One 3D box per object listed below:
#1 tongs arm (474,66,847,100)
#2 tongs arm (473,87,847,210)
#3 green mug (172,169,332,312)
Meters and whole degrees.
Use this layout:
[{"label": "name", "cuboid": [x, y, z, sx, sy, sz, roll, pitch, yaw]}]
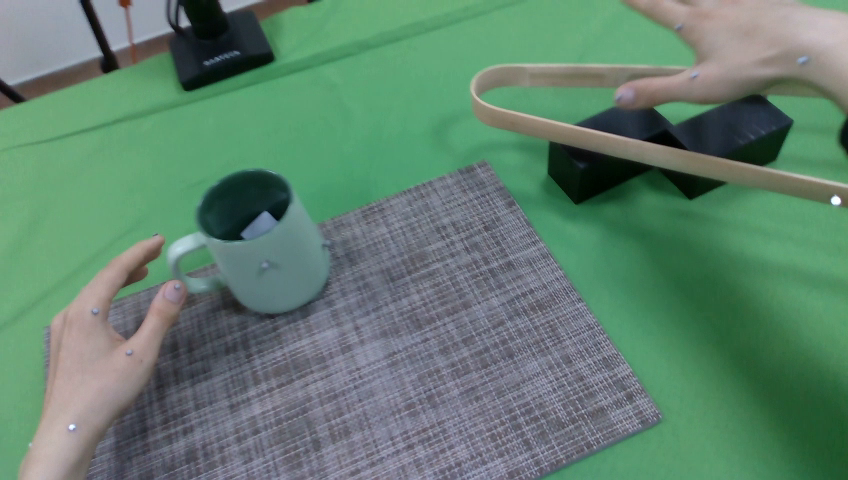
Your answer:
[{"label": "tongs arm", "cuboid": [0.240, -0.136, 0.562, 0.383, 0.027, 0.050, 8, 58, 13]}, {"label": "tongs arm", "cuboid": [0.216, -0.075, 0.522, 0.385, 0.028, 0.028, 18, 65, 20]}, {"label": "green mug", "cuboid": [-0.148, 0.009, 0.518, 0.125, 0.106, 0.091, -23, 54, -9]}]
